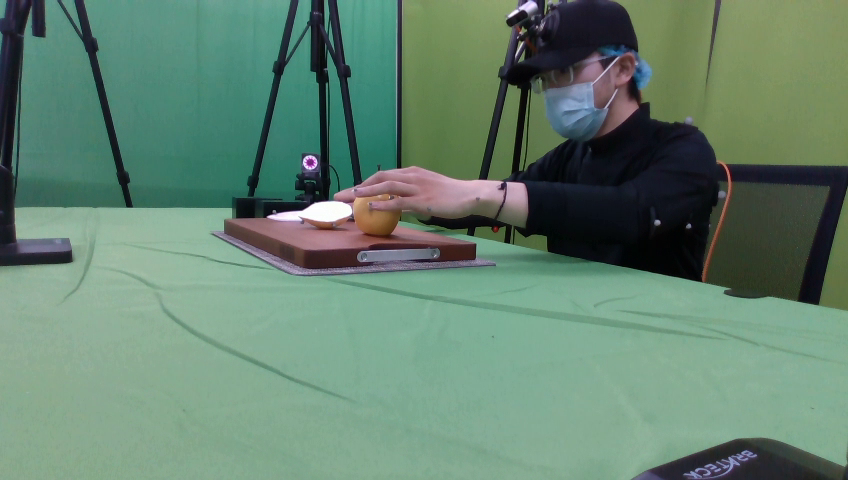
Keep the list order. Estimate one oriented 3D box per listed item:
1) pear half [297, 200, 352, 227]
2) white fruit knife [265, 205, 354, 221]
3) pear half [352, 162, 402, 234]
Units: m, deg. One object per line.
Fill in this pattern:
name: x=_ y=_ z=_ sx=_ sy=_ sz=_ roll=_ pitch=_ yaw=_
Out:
pear half: x=-0.163 y=-0.038 z=0.995 sx=0.088 sy=0.031 sz=0.070 roll=-13 pitch=26 yaw=-15
white fruit knife: x=-0.191 y=-0.050 z=1.112 sx=0.208 sy=0.027 sz=0.016 roll=-5 pitch=-27 yaw=-35
pear half: x=-0.065 y=-0.063 z=0.921 sx=0.077 sy=0.110 sz=0.055 roll=-8 pitch=14 yaw=-43
